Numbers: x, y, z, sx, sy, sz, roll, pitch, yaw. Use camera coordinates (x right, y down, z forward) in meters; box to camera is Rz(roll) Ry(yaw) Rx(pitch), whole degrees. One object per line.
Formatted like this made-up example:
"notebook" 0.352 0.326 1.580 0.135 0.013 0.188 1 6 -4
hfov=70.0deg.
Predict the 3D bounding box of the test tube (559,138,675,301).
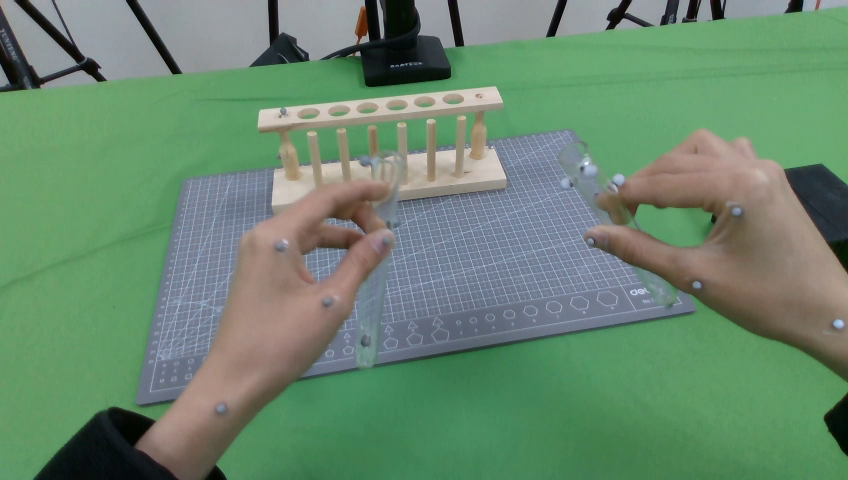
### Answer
"test tube" 0.111 -0.005 0.333 0.017 0.152 0.017 -22 47 26

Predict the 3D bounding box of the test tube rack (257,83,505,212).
"test tube rack" -0.041 -0.096 0.623 0.242 0.086 0.066 -7 42 -5

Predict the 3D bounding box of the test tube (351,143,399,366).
"test tube" -0.030 0.015 0.355 0.017 0.151 0.017 7 30 -4
